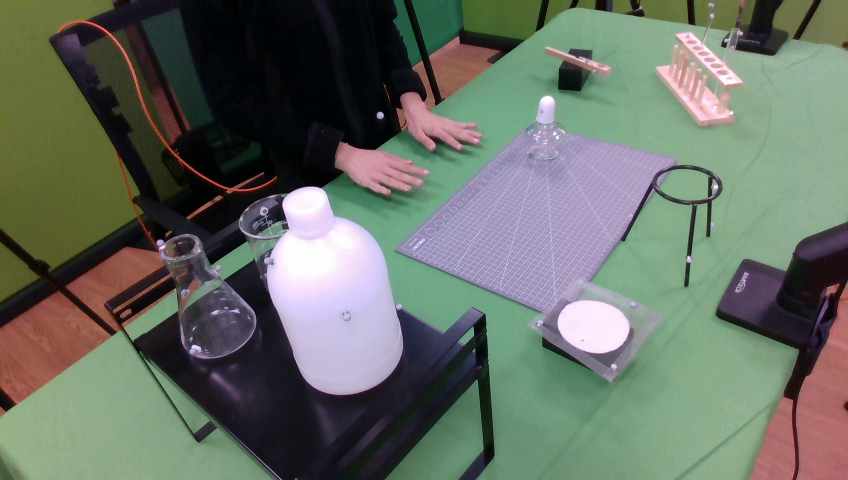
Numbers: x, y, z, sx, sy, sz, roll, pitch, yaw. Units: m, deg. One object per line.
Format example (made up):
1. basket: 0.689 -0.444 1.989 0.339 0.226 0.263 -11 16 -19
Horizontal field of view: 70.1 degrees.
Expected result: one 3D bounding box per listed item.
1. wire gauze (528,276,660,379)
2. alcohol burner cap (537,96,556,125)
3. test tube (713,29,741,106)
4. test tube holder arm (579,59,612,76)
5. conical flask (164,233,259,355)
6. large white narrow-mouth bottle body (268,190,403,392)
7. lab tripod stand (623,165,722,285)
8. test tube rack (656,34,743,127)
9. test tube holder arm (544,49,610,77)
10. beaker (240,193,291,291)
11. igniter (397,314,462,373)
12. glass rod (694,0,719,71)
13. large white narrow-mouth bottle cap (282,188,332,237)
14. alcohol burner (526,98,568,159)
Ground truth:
1. wire gauze: 0.214 0.103 0.763 0.124 0.011 0.122 30 52 35
2. alcohol burner cap: 0.223 -0.237 1.095 0.034 0.048 0.033 -1 42 1
3. test tube: 0.572 -0.324 1.146 0.017 0.151 0.017 -3 39 3
4. test tube holder arm: 0.362 -0.368 1.289 0.010 0.015 0.087 -25 43 -31
5. conical flask: -0.216 0.051 0.601 0.075 0.122 0.075 -4 40 4
6. large white narrow-mouth bottle body: -0.081 0.042 0.534 0.102 0.195 0.101 -5 41 5
7. lab tripod stand: 0.365 -0.030 0.874 0.148 0.132 0.147 -6 41 6
8. test tube rack: 0.553 -0.331 1.233 0.067 0.085 0.241 -7 40 2
9. test tube holder arm: 0.330 -0.386 1.314 0.013 0.015 0.177 -25 43 -31
10. beaker: -0.144 0.009 0.656 0.084 0.101 0.073 -25 43 -20
11. igniter: -0.059 0.107 0.862 0.274 0.025 0.057 28 62 34
12. glass rod: 0.560 -0.401 1.214 0.008 0.200 0.008 -1 48 2
13. large white narrow-mouth bottle cap: -0.092 -0.022 0.479 0.038 0.024 0.037 -5 40 5
14. alcohol burner: 0.228 -0.210 1.118 0.078 0.119 0.077 -5 43 5
